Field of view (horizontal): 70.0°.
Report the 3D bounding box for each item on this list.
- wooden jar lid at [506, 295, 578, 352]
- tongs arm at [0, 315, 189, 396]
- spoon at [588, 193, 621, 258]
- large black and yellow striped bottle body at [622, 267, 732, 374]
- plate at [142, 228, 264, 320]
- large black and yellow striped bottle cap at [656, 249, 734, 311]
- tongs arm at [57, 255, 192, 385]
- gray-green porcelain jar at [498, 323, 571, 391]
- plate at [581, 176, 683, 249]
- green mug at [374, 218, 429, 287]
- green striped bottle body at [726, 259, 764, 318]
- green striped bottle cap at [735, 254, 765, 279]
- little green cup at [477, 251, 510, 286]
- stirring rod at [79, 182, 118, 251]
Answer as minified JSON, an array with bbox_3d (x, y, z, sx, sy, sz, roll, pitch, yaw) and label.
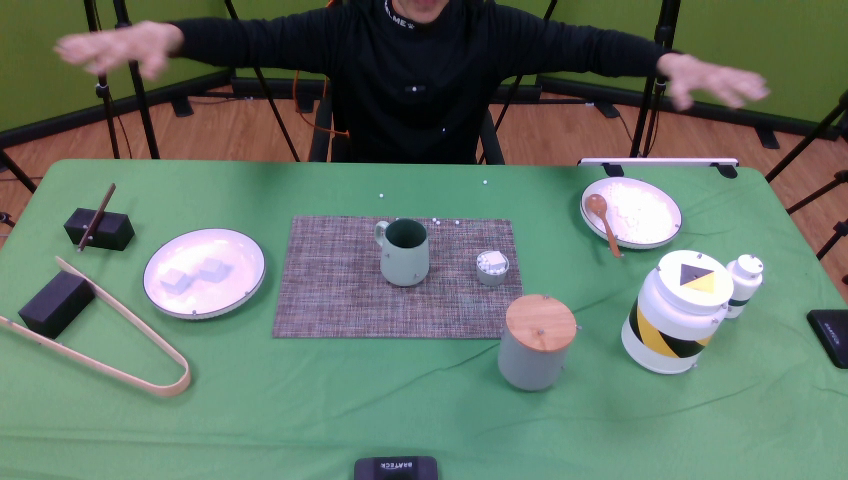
[{"bbox_3d":[0.179,0.129,0.925,0.108,0.021,0.107,2,43,-2],"label":"wooden jar lid"},{"bbox_3d":[-0.555,0.170,0.981,0.384,0.026,0.050,21,43,14],"label":"tongs arm"},{"bbox_3d":[0.367,-0.032,1.220,0.041,0.022,0.192,1,38,-1],"label":"spoon"},{"bbox_3d":[0.415,0.119,0.997,0.131,0.185,0.130,2,46,-2],"label":"large black and yellow striped bottle body"},{"bbox_3d":[-0.394,0.064,1.095,0.208,0.039,0.206,2,46,-2],"label":"plate"},{"bbox_3d":[0.419,0.061,0.938,0.115,0.019,0.114,2,47,-2],"label":"large black and yellow striped bottle cap"},{"bbox_3d":[-0.516,0.126,1.033,0.386,0.028,0.028,30,43,23],"label":"tongs arm"},{"bbox_3d":[0.176,0.172,0.971,0.106,0.127,0.105,2,46,-2],"label":"gray-green porcelain jar"},{"bbox_3d":[0.430,-0.054,1.267,0.209,0.038,0.208,2,46,-2],"label":"plate"},{"bbox_3d":[-0.047,0.015,1.116,0.124,0.105,0.092,36,54,26],"label":"green mug"},{"bbox_3d":[0.563,0.081,1.089,0.063,0.120,0.063,2,46,-2],"label":"green striped bottle body"},{"bbox_3d":[0.566,0.046,1.051,0.044,0.020,0.044,0,45,0],"label":"green striped bottle cap"},{"bbox_3d":[0.128,0.055,1.135,0.061,0.039,0.061,1,47,-1],"label":"little green cup"},{"bbox_3d":[-0.605,-0.047,1.130,0.006,0.014,0.175,0,47,0],"label":"stirring rod"}]
